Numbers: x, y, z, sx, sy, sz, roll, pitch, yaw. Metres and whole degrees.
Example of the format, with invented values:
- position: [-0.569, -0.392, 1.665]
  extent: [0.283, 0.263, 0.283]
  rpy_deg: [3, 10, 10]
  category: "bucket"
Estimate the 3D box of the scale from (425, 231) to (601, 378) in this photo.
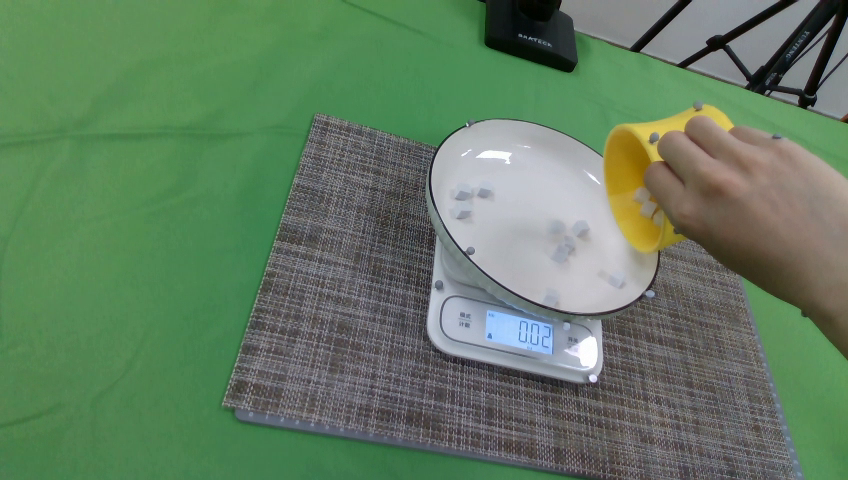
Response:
- position: [0.081, 0.014, 0.523]
  extent: [0.149, 0.032, 0.199]
  rpy_deg: [14, 51, -10]
  category: "scale"

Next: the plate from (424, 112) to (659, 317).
- position: [0.096, -0.023, 0.514]
  extent: [0.210, 0.038, 0.207]
  rpy_deg: [11, 52, -13]
  category: "plate"

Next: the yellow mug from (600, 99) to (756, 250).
- position: [0.185, -0.049, 0.439]
  extent: [0.064, 0.130, 0.100]
  rpy_deg: [-16, 91, -4]
  category: "yellow mug"
